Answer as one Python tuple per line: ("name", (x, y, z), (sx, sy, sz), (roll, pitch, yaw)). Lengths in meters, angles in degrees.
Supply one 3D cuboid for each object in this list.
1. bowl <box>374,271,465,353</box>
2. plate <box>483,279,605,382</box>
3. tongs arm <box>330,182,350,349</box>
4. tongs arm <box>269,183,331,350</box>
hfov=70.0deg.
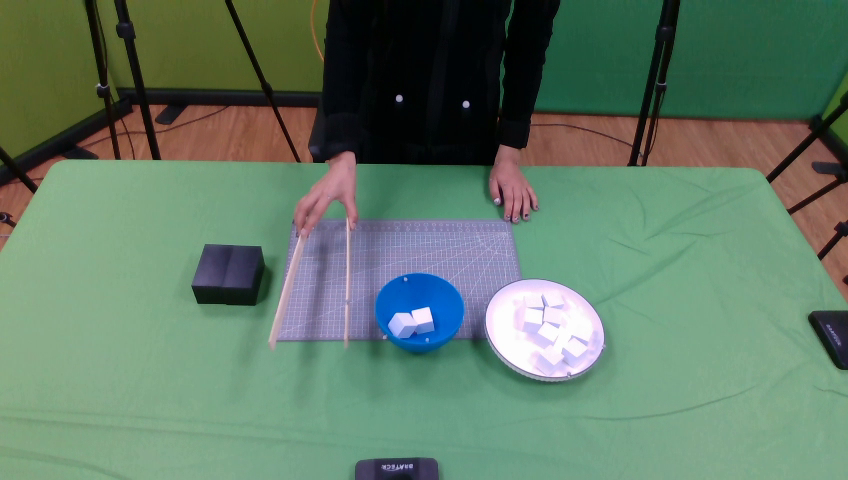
("bowl", (-0.009, 0.136, 1.024), (0.151, 0.077, 0.150), (2, 47, -2))
("plate", (0.204, 0.158, 1.046), (0.208, 0.039, 0.206), (3, 47, -3))
("tongs arm", (-0.152, 0.027, 1.067), (0.051, 0.027, 0.382), (-3, 45, 0))
("tongs arm", (-0.215, 0.028, 1.066), (0.028, 0.028, 0.385), (0, 44, 7))
